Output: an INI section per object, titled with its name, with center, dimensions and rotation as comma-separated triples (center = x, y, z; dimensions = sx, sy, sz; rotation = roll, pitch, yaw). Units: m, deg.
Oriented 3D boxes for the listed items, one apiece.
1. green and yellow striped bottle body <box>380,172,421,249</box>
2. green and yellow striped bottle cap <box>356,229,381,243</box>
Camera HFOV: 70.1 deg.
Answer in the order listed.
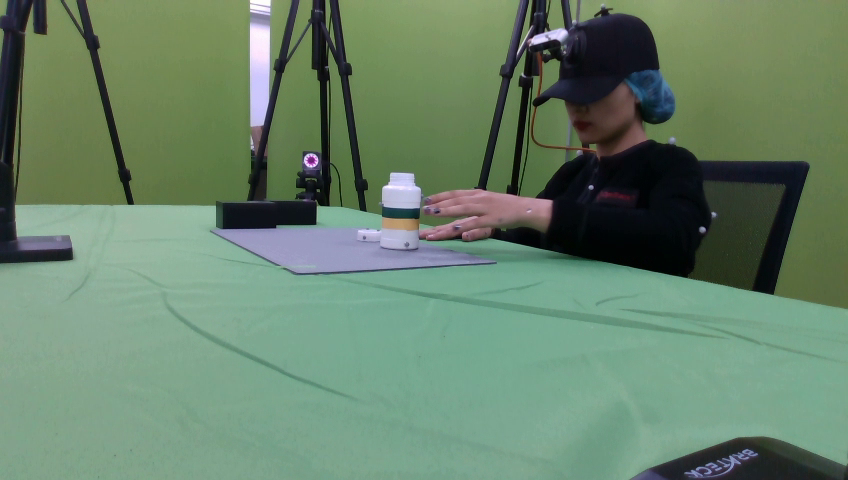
[green and yellow striped bottle body]
center = -0.037, -0.048, 0.959
dimensions = 0.063, 0.119, 0.063
rotation = 3, 7, 0
[green and yellow striped bottle cap]
center = -0.094, -0.007, 1.040
dimensions = 0.045, 0.020, 0.045
rotation = 4, 6, 0
